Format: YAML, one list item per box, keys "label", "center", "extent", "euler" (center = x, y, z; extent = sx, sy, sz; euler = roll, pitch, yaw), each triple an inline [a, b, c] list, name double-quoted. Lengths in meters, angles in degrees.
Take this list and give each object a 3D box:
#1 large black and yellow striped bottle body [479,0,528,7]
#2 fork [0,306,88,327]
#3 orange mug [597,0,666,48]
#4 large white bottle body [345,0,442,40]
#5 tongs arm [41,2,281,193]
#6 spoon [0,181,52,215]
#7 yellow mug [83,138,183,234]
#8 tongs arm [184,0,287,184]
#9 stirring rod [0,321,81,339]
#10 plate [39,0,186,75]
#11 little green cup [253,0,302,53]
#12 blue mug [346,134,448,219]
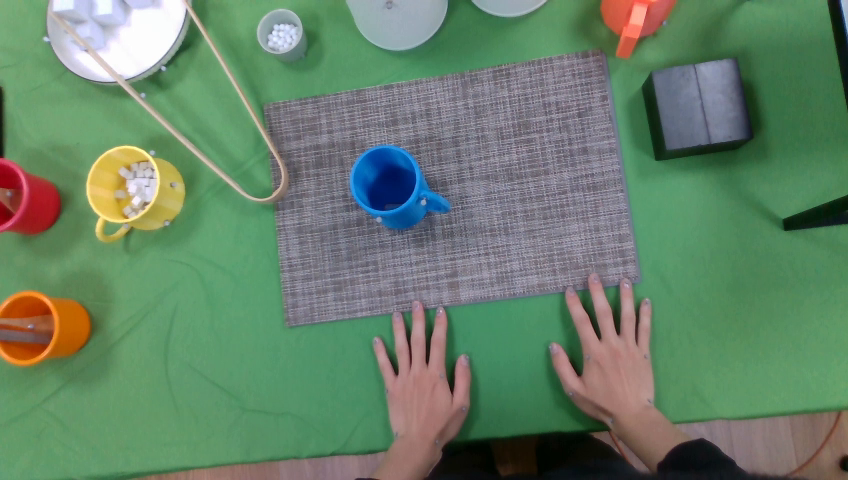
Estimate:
- label: "large black and yellow striped bottle body"
  center: [0.098, -0.377, 0.713]
  extent: [0.130, 0.184, 0.130]
  euler: [-1, 84, 6]
- label: "fork"
  center: [-0.534, 0.090, 0.749]
  extent: [0.209, 0.018, 0.028]
  euler: [10, 82, -37]
- label: "orange mug"
  center: [0.255, -0.303, 0.733]
  extent: [0.083, 0.101, 0.126]
  euler: [15, 82, 8]
- label: "large white bottle body"
  center: [-0.048, -0.338, 0.724]
  extent: [0.130, 0.185, 0.130]
  euler: [-1, 84, 6]
- label: "tongs arm"
  center: [-0.344, -0.191, 0.795]
  extent: [0.384, 0.026, 0.051]
  euler: [44, 87, 1]
- label: "spoon"
  center: [-0.583, -0.085, 0.775]
  extent: [0.195, 0.021, 0.041]
  euler: [30, 85, -35]
- label: "yellow mug"
  center: [-0.387, -0.064, 0.792]
  extent: [0.099, 0.064, 0.131]
  euler: [31, 89, 8]
- label: "tongs arm"
  center: [-0.280, -0.245, 0.796]
  extent: [0.028, 0.028, 0.387]
  euler: [-31, 89, -6]
- label: "stirring rod"
  center: [-0.524, 0.107, 0.749]
  extent: [0.006, 0.177, 0.014]
  euler: [-23, 61, 46]
- label: "plate"
  center: [-0.423, -0.325, 0.835]
  extent: [0.207, 0.039, 0.207]
  euler: [-1, 85, 6]
- label: "little green cup"
  center: [-0.192, -0.281, 0.807]
  extent: [0.061, 0.039, 0.061]
  euler: [0, 85, 5]
- label: "blue mug"
  center: [-0.027, -0.068, 0.732]
  extent: [0.116, 0.106, 0.082]
  euler: [18, 86, 8]
